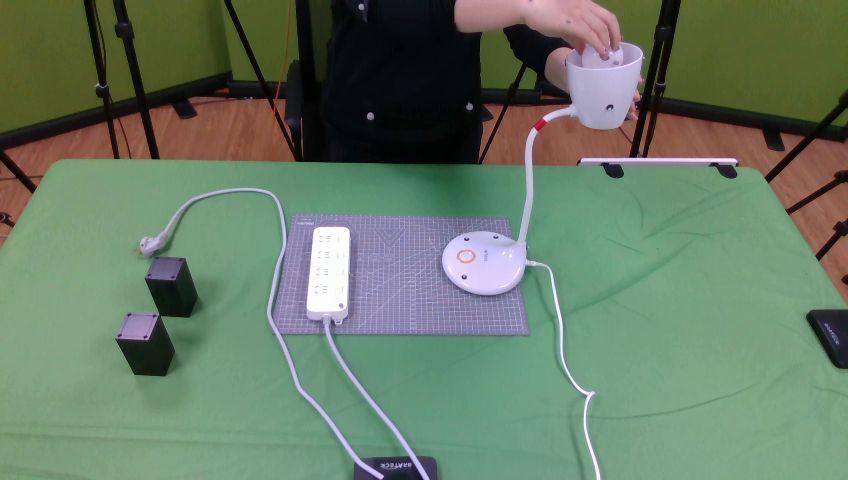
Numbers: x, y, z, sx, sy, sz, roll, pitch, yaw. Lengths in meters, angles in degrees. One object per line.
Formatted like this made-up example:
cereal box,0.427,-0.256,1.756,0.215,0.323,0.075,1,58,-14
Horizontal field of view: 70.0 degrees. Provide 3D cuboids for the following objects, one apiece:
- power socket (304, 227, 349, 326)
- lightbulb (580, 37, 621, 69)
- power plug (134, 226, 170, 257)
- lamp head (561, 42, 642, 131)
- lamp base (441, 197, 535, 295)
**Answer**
power socket,-0.177,0.059,1.115,0.072,0.033,0.225,-1,46,-4
lightbulb,0.271,-0.254,0.927,0.059,0.108,0.059,-9,30,5
power plug,-0.515,0.006,1.153,0.052,0.035,0.072,-6,24,6
lamp head,0.270,-0.231,0.936,0.112,0.123,0.112,-2,36,2
lamp base,0.130,-0.012,1.105,0.179,0.181,0.159,-1,46,-9
